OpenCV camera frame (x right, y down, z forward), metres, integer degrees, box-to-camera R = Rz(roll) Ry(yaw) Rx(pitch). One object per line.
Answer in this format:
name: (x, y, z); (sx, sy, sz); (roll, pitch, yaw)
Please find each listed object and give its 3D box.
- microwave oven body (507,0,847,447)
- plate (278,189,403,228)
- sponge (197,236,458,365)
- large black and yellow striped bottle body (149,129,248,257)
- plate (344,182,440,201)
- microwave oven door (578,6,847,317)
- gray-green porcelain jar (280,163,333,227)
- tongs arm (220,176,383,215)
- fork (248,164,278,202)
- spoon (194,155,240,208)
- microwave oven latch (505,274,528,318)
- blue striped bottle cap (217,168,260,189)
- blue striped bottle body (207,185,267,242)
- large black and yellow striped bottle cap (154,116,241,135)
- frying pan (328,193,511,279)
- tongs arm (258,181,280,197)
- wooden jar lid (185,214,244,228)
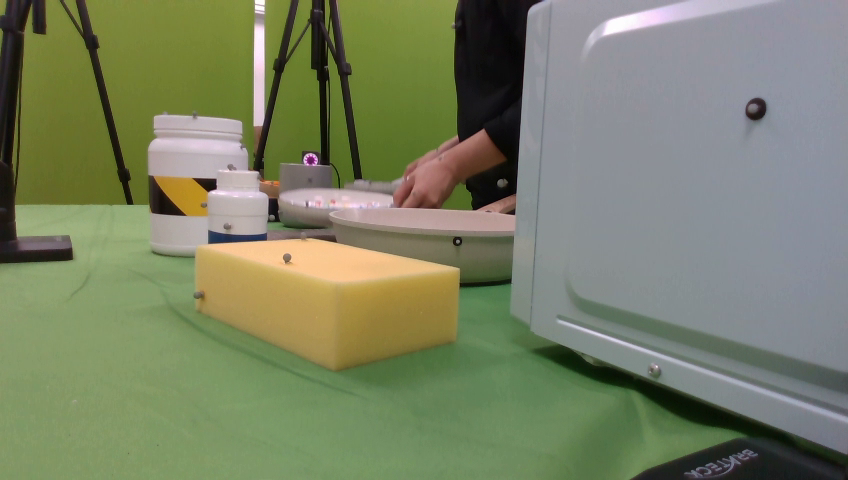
microwave oven body: (0.331, -0.042, 0.425); (0.444, 0.260, 0.324); (-2, 8, -31)
plate: (-0.139, -0.053, 1.017); (0.209, 0.038, 0.209); (3, 13, 0)
sponge: (-0.087, 0.039, 0.500); (0.206, 0.061, 0.119); (8, 9, 44)
large black and yellow striped bottle body: (-0.315, -0.075, 0.854); (0.131, 0.184, 0.130); (1, 7, 0)
plate: (-0.069, -0.103, 1.306); (0.208, 0.039, 0.207); (0, 3, 0)
microwave oven door: (0.294, -0.067, 0.570); (0.358, 0.243, 0.039); (-3, 9, -31)
gray-green porcelain jar: (-0.238, -0.092, 1.221); (0.106, 0.126, 0.106); (1, 7, 0)
tongs arm: (-0.285, -0.105, 1.445); (0.389, 0.027, 0.028); (10, -4, -23)
fork: (-0.399, -0.144, 1.489); (0.028, 0.018, 0.208); (23, -23, 47)
spoon: (-0.486, -0.134, 1.415); (0.041, 0.021, 0.194); (7, -35, 21)
microwave oven latch: (0.100, 0.041, 0.472); (0.079, 0.029, 0.030); (-2, 8, -30)
blue striped bottle cap: (-0.202, -0.067, 0.657); (0.044, 0.020, 0.044); (0, 11, 0)
blue striped bottle body: (-0.204, -0.016, 0.663); (0.063, 0.120, 0.063); (2, 7, 0)
large black and yellow striped bottle cap: (-0.314, -0.158, 0.843); (0.115, 0.019, 0.115); (3, 7, 0)
frying pan: (0.071, -0.030, 0.883); (0.305, 0.102, 0.490); (7, 17, 28)
tongs arm: (-0.241, -0.095, 1.373); (0.387, 0.026, 0.050); (9, 0, -37)
wooden jar lid: (-0.404, -0.037, 1.169); (0.108, 0.020, 0.108); (3, 7, 0)
